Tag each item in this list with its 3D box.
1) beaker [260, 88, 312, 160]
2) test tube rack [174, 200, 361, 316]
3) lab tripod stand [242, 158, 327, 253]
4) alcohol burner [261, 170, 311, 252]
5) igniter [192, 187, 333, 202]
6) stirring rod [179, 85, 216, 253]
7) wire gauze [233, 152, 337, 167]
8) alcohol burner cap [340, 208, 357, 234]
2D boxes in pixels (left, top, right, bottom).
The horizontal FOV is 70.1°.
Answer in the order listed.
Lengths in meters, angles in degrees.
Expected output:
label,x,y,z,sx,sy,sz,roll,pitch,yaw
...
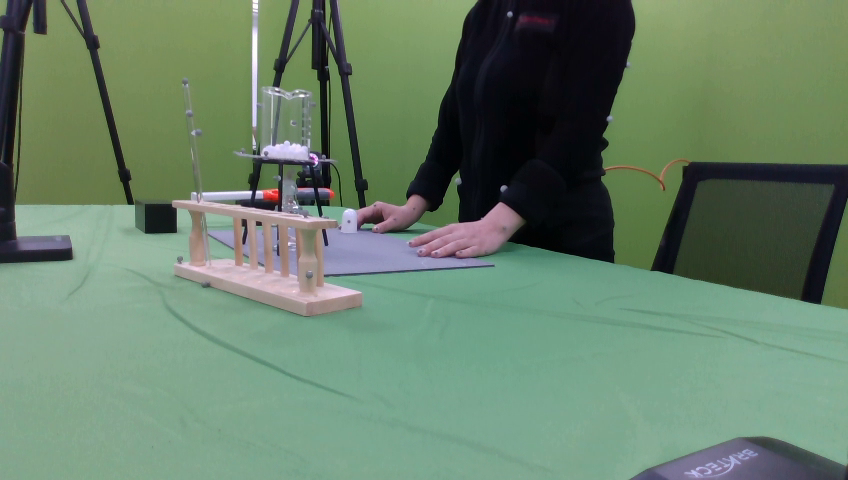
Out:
label,x,y,z,sx,sy,sz,roll,pitch,yaw
beaker,-0.201,-0.166,0.876,0.074,0.100,0.083,1,7,-18
test tube rack,-0.169,0.009,0.622,0.241,0.085,0.067,9,9,41
lab tripod stand,-0.207,-0.054,0.895,0.148,0.131,0.148,2,5,0
alcohol burner,-0.201,-0.043,0.891,0.078,0.119,0.078,1,6,0
igniter,-0.316,-0.090,1.214,0.278,0.025,0.057,-5,12,-31
stirring rod,-0.237,-0.073,0.634,0.006,0.176,0.014,0,10,42
wire gauze,-0.205,-0.119,0.887,0.122,0.011,0.124,2,4,-32
alcohol burner cap,-0.142,-0.035,1.136,0.034,0.048,0.034,2,7,0
